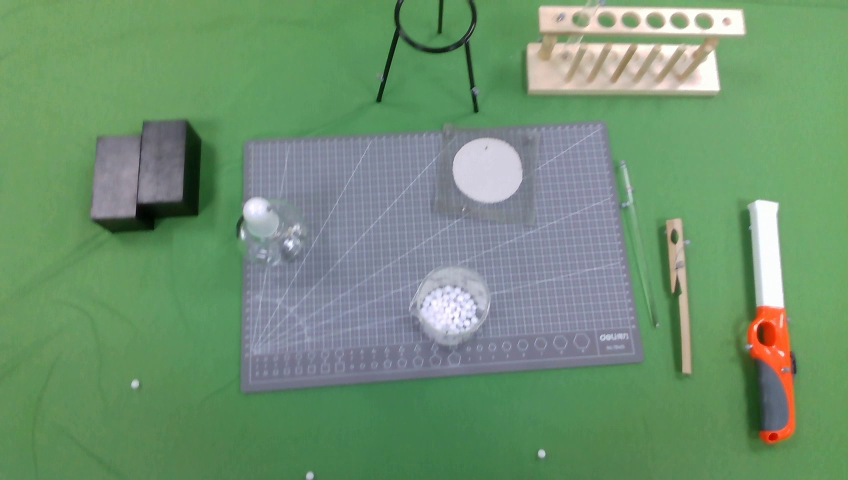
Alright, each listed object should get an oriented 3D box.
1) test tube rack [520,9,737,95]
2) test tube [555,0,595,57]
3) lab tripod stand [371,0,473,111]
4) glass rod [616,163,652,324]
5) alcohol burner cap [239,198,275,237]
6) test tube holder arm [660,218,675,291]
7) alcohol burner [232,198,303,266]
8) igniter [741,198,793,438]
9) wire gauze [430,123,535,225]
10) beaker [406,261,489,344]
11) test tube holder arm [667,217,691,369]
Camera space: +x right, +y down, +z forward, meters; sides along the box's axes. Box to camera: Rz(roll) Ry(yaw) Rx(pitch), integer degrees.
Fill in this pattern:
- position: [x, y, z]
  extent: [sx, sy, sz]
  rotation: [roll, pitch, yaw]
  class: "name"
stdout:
- position: [0.247, -0.231, 0.750]
  extent: [0.242, 0.085, 0.066]
  rotation: [0, 74, -2]
  class: "test tube rack"
- position: [0.180, -0.258, 0.704]
  extent: [0.017, 0.151, 0.017]
  rotation: [1, 74, -4]
  class: "test tube"
- position: [0.002, -0.221, 0.715]
  extent: [0.148, 0.132, 0.147]
  rotation: [0, 76, -1]
  class: "lab tripod stand"
- position: [0.251, 0.001, 0.724]
  extent: [0.008, 0.008, 0.198]
  rotation: [-6, 77, -4]
  class: "glass rod"
- position: [-0.174, -0.026, 0.624]
  extent: [0.034, 0.048, 0.033]
  rotation: [2, 70, -5]
  class: "alcohol burner cap"
- position: [0.290, 0.017, 0.717]
  extent: [0.010, 0.015, 0.087]
  rotation: [-10, 72, 32]
  class: "test tube holder arm"
- position: [-0.174, -0.014, 0.658]
  extent: [0.078, 0.120, 0.077]
  rotation: [0, 73, 1]
  class: "alcohol burner"
- position: [0.391, 0.084, 0.695]
  extent: [0.057, 0.025, 0.275]
  rotation: [7, 74, -10]
  class: "igniter"
- position: [0.073, -0.084, 0.741]
  extent: [0.125, 0.011, 0.121]
  rotation: [7, 75, 0]
  class: "wire gauze"
- position: [0.023, 0.072, 0.648]
  extent: [0.084, 0.101, 0.073]
  rotation: [-12, 74, -4]
  class: "beaker"
- position: [0.295, 0.059, 0.702]
  extent: [0.013, 0.015, 0.177]
  rotation: [-11, 72, 32]
  class: "test tube holder arm"
